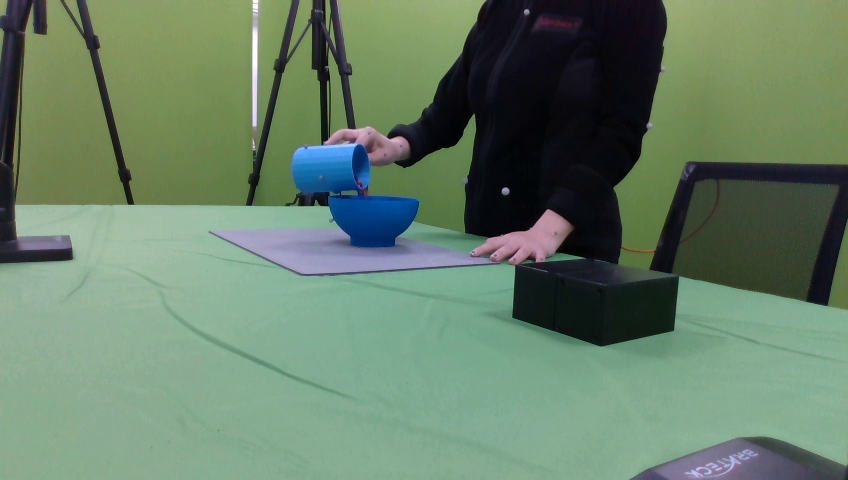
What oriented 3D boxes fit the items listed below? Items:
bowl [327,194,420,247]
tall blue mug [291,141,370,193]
[{"bbox_3d":[-0.083,-0.032,0.988,0.151,0.077,0.151,2,7,0],"label":"bowl"},{"bbox_3d":[-0.151,-0.131,1.011,0.108,0.078,0.107,-3,48,18],"label":"tall blue mug"}]
